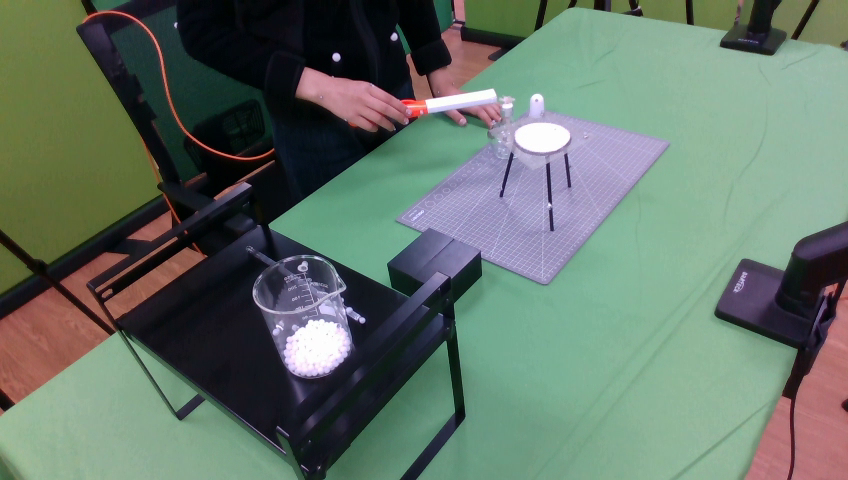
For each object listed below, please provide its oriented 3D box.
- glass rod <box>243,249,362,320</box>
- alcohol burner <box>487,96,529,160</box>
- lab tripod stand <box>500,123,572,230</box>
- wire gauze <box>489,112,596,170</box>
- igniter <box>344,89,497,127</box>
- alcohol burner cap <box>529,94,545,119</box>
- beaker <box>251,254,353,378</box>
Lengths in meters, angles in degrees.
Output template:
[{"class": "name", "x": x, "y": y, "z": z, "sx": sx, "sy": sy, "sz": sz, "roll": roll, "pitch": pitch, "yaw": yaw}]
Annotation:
[{"class": "glass rod", "x": -0.141, "y": 0.046, "z": 0.674, "sx": 0.198, "sy": 0.008, "sz": 0.008, "roll": 24, "pitch": 49, "yaw": 32}, {"class": "alcohol burner", "x": 0.155, "y": -0.211, "z": 1.126, "sx": 0.078, "sy": 0.119, "sz": 0.077, "roll": -6, "pitch": 40, "yaw": 5}, {"class": "lab tripod stand", "x": 0.194, "y": -0.110, "z": 0.985, "sx": 0.148, "sy": 0.132, "sz": 0.147, "roll": -3, "pitch": 41, "yaw": 3}, {"class": "wire gauze", "x": 0.183, "y": -0.161, "z": 0.942, "sx": 0.122, "sy": 0.011, "sz": 0.124, "roll": -24, "pitch": 44, "yaw": -18}, {"class": "igniter", "x": -0.007, "y": -0.239, "z": 1.091, "sx": 0.277, "sy": 0.025, "sz": 0.057, "roll": -9, "pitch": 42, "yaw": -3}, {"class": "alcohol burner cap", "x": 0.233, "y": -0.277, "z": 1.247, "sx": 0.034, "sy": 0.048, "sz": 0.033, "roll": -5, "pitch": 41, "yaw": 5}, {"class": "beaker", "x": -0.106, "y": 0.074, "z": 0.565, "sx": 0.084, "sy": 0.101, "sz": 0.073, "roll": -1, "pitch": 41, "yaw": 8}]
